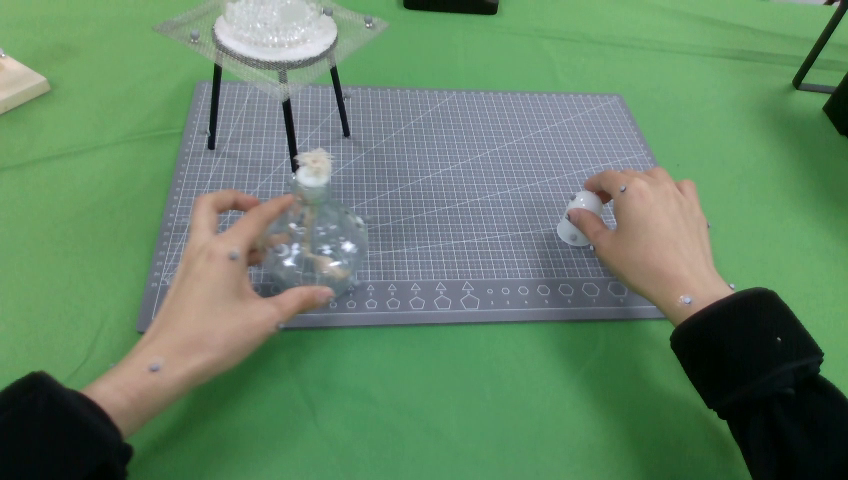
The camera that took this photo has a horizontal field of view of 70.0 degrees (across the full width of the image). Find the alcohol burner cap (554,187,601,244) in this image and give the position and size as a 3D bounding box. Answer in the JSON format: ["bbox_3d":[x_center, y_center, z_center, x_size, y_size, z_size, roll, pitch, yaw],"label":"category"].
[{"bbox_3d":[0.131,-0.023,0.508,0.034,0.048,0.033,4,47,-4],"label":"alcohol burner cap"}]

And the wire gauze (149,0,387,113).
[{"bbox_3d":[-0.109,-0.153,0.438,0.124,0.011,0.121,32,54,14],"label":"wire gauze"}]

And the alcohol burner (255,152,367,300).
[{"bbox_3d":[-0.078,-0.013,0.420,0.078,0.120,0.077,6,46,-6],"label":"alcohol burner"}]

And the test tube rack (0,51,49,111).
[{"bbox_3d":[-0.443,-0.117,0.480,0.066,0.086,0.241,29,51,17],"label":"test tube rack"}]

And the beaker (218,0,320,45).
[{"bbox_3d":[-0.108,-0.190,0.404,0.073,0.101,0.084,37,55,21],"label":"beaker"}]

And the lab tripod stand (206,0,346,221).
[{"bbox_3d":[-0.114,-0.110,0.487,0.148,0.132,0.147,5,49,-6],"label":"lab tripod stand"}]
